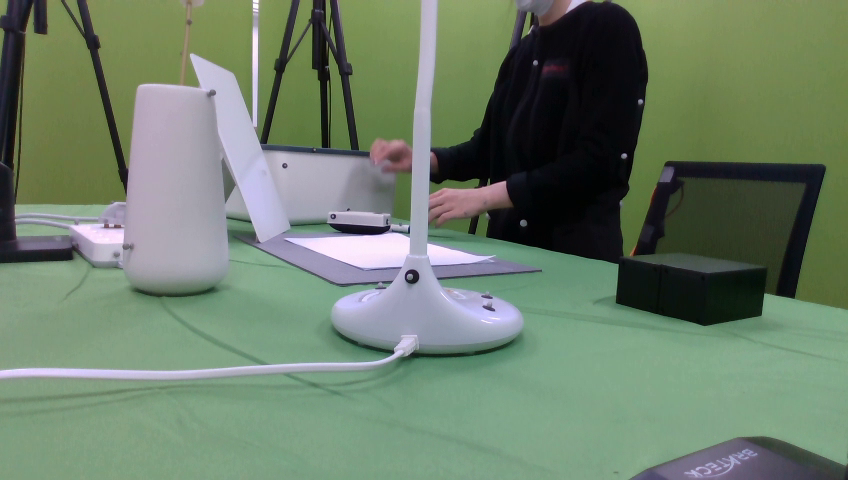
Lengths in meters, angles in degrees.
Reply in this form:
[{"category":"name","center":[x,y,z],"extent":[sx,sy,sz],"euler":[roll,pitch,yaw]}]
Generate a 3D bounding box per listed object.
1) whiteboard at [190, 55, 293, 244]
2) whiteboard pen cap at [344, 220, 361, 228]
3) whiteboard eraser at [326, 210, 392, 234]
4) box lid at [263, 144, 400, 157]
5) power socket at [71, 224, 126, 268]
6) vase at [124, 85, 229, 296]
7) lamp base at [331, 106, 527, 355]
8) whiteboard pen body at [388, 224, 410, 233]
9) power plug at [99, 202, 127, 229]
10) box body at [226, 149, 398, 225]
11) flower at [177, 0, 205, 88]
[{"category":"whiteboard","center":[-0.362,-0.129,1.029],"extent":[0.144,0.305,0.217],"euler":[-18,7,3]},{"category":"whiteboard pen cap","center":[-0.144,-0.032,1.230],"extent":[0.033,0.018,0.018],"euler":[6,8,17]},{"category":"whiteboard eraser","center":[-0.121,-0.033,1.131],"extent":[0.112,0.042,0.056],"euler":[4,8,13]},{"category":"box lid","center":[-0.263,-0.203,1.369],"extent":[0.262,0.015,0.373],"euler":[9,10,39]},{"category":"power socket","center":[-0.409,0.004,0.793],"extent":[0.072,0.032,0.225],"euler":[-2,8,-37]},{"category":"vase","center":[-0.244,-0.047,0.598],"extent":[0.098,0.200,0.098],"euler":[3,8,0]},{"category":"lamp base","center":[0.006,-0.012,0.478],"extent":[0.161,0.180,0.179],"euler":[2,10,2]},{"category":"whiteboard pen body","center":[-0.088,-0.026,1.214],"extent":[0.140,0.017,0.017],"euler":[5,8,18]},{"category":"power plug","center":[-0.415,-0.026,0.848],"extent":[0.073,0.052,0.035],"euler":[6,5,-28]},{"category":"box body","center":[-0.265,-0.129,1.380],"extent":[0.253,0.160,0.366],"euler":[8,9,39]},{"category":"flower","center":[-0.243,-0.131,0.609],"extent":[0.044,0.361,0.038],"euler":[-5,-12,12]}]
